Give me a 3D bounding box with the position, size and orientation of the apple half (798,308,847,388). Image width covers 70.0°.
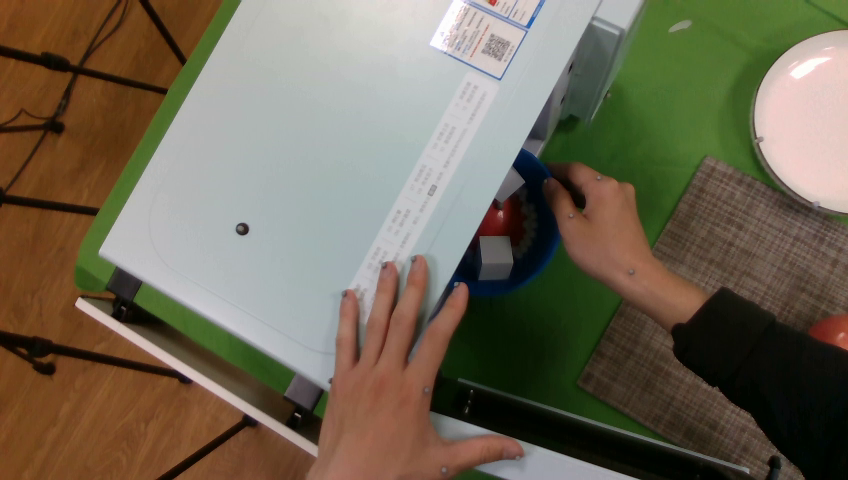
[{"bbox_3d":[0.414,0.107,0.619,0.053,0.075,0.080,9,88,14],"label":"apple half"}]

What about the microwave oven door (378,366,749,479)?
[{"bbox_3d":[0.151,0.192,0.544,0.355,0.245,0.039,15,85,9],"label":"microwave oven door"}]

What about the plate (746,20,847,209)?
[{"bbox_3d":[0.458,-0.134,0.662,0.207,0.039,0.207,-1,84,7],"label":"plate"}]

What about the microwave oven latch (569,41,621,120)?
[{"bbox_3d":[0.193,-0.178,0.683,0.030,0.029,0.079,29,89,9],"label":"microwave oven latch"}]

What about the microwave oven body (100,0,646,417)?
[{"bbox_3d":[-0.034,-0.105,0.606,0.325,0.261,0.441,28,88,9],"label":"microwave oven body"}]

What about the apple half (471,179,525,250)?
[{"bbox_3d":[0.063,-0.026,0.605,0.081,0.033,0.081,1,99,10],"label":"apple half"}]

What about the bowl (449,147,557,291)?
[{"bbox_3d":[0.063,-0.026,0.614,0.151,0.077,0.151,1,92,18],"label":"bowl"}]
